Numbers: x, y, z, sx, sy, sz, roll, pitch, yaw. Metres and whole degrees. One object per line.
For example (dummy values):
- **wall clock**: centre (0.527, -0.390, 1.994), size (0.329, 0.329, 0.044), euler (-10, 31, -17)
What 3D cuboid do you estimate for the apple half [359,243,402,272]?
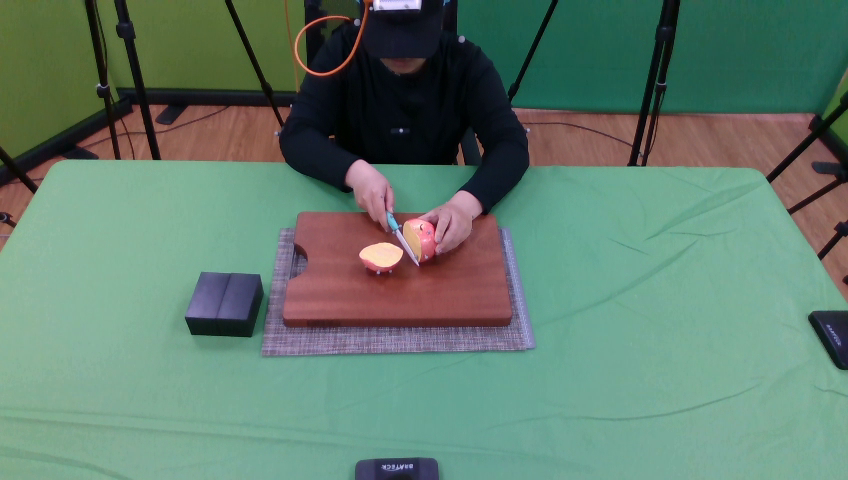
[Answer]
- **apple half**: centre (-0.077, 0.037, 1.110), size (0.081, 0.033, 0.081), euler (1, 30, 0)

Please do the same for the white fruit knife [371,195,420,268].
- **white fruit knife**: centre (-0.054, -0.021, 1.160), size (0.016, 0.027, 0.206), euler (-20, 52, -21)

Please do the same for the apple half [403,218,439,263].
- **apple half**: centre (-0.001, 0.000, 1.124), size (0.053, 0.075, 0.080), euler (-15, 45, -23)
